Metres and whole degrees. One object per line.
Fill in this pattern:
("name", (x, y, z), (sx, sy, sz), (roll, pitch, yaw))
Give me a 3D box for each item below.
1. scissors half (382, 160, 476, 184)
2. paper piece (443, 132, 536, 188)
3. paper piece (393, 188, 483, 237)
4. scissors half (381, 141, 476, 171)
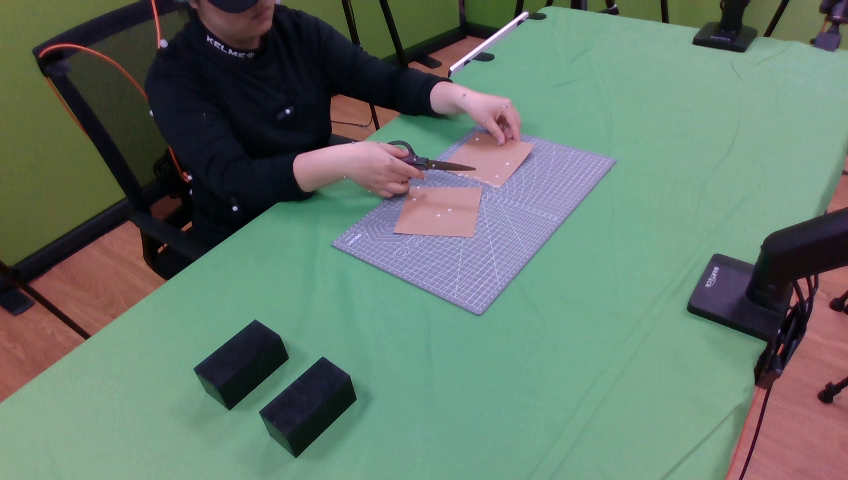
("scissors half", (0.007, -0.121, 1.054), (0.174, 0.040, 0.013), (-3, 17, 23))
("paper piece", (0.118, -0.154, 1.137), (0.135, 0.009, 0.138), (25, 52, 27))
("paper piece", (0.027, -0.051, 1.033), (0.135, 0.004, 0.135), (3, 41, 12))
("scissors half", (0.006, -0.140, 1.046), (0.174, 0.040, 0.013), (15, 28, 15))
